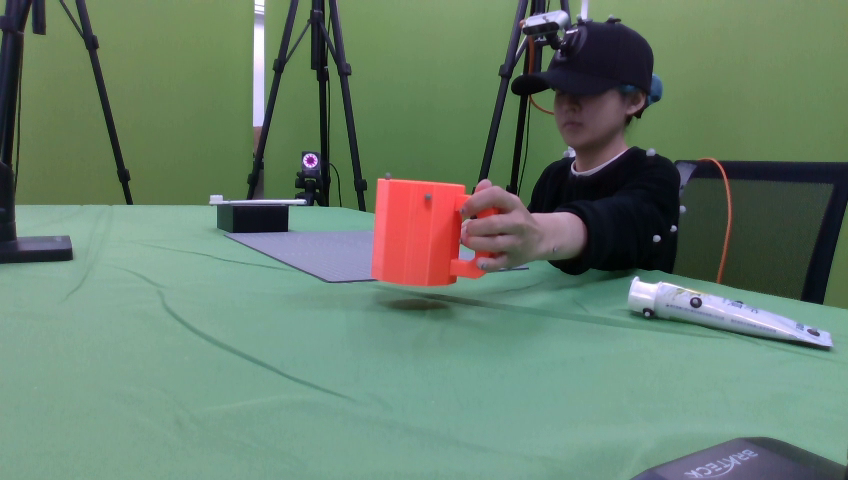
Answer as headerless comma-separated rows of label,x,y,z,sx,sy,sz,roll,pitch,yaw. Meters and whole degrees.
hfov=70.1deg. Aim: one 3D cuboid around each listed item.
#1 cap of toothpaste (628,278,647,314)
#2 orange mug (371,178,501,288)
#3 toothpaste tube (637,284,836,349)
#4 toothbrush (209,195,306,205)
cap of toothpaste,0.209,0.055,0.589,0.011,0.037,0.037,11,11,28
orange mug,0.011,-0.008,0.577,0.126,0.100,0.084,3,5,26
toothpaste tube,0.275,0.070,0.550,0.164,0.034,0.055,11,15,28
toothbrush,-0.303,-0.073,1.117,0.183,0.016,0.014,-2,4,-36
